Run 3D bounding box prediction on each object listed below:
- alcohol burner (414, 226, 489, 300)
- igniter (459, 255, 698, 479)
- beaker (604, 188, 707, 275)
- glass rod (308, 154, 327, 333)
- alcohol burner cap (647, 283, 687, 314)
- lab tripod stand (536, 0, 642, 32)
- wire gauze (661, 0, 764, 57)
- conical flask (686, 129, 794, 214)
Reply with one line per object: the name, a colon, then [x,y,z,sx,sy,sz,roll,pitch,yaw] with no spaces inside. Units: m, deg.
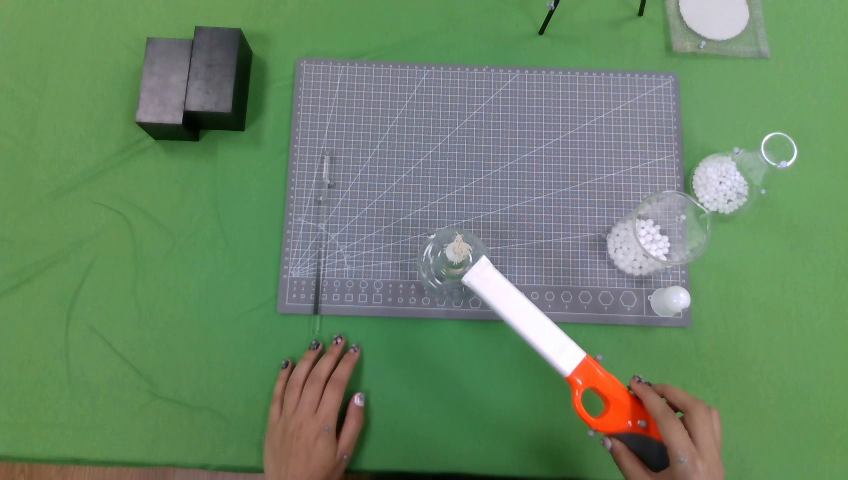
alcohol burner: [0.028,0.019,0.613,0.078,0.119,0.077,0,77,1]
igniter: [0.140,0.119,0.543,0.276,0.025,0.057,44,78,2]
beaker: [0.236,-0.006,0.630,0.084,0.100,0.073,-22,80,-6]
glass rod: [-0.116,0.001,0.666,0.008,0.008,0.199,3,82,-1]
alcohol burner cap: [0.262,0.061,0.647,0.034,0.048,0.033,0,78,-1]
lab tripod stand: [0.191,-0.309,0.674,0.148,0.132,0.148,0,80,-1]
wire gauze: [0.349,-0.282,0.736,0.125,0.011,0.121,1,79,-3]
conical flask: [0.335,-0.077,0.638,0.075,0.122,0.075,0,78,-1]
